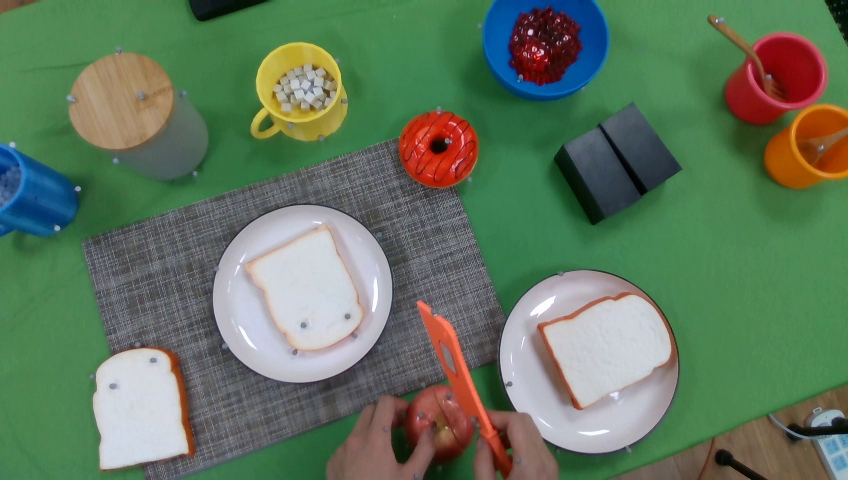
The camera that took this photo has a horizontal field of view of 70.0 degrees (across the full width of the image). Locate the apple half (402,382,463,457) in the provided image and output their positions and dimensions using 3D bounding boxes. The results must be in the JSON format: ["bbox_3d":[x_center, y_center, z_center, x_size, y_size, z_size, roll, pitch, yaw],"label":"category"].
[{"bbox_3d":[0.003,0.204,0.673,0.053,0.075,0.080,-28,84,-1],"label":"apple half"}]

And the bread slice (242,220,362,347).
[{"bbox_3d":[-0.133,0.055,0.708,0.107,0.018,0.134,-30,83,-5],"label":"bread slice"}]

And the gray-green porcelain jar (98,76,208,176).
[{"bbox_3d":[-0.315,-0.135,0.695,0.106,0.127,0.105,0,80,-1],"label":"gray-green porcelain jar"}]

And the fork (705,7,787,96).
[{"bbox_3d":[0.383,-0.219,0.714,0.209,0.018,0.028,20,76,-40],"label":"fork"}]

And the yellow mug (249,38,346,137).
[{"bbox_3d":[-0.160,-0.174,0.735,0.131,0.064,0.099,-43,84,-7],"label":"yellow mug"}]

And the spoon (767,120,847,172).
[{"bbox_3d":[0.499,-0.138,0.702,0.022,0.194,0.041,-15,75,-50],"label":"spoon"}]

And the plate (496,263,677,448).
[{"bbox_3d":[0.185,0.132,0.706,0.209,0.038,0.208,0,80,-1],"label":"plate"}]

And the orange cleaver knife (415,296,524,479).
[{"bbox_3d":[0.043,0.149,0.591,0.012,0.077,0.212,-30,104,-20],"label":"orange cleaver knife"}]

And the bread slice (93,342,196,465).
[{"bbox_3d":[-0.325,0.184,0.693,0.105,0.019,0.131,-12,82,-4],"label":"bread slice"}]

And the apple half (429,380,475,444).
[{"bbox_3d":[0.038,0.185,0.676,0.033,0.081,0.081,-29,82,-2],"label":"apple half"}]

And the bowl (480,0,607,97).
[{"bbox_3d":[0.140,-0.238,0.747,0.151,0.077,0.151,0,81,-1],"label":"bowl"}]

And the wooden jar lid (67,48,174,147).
[{"bbox_3d":[-0.314,-0.147,0.634,0.108,0.021,0.108,0,79,0],"label":"wooden jar lid"}]

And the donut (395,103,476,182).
[{"bbox_3d":[0.015,-0.118,0.737,0.099,0.048,0.098,0,81,-1],"label":"donut"}]

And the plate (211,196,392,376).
[{"bbox_3d":[-0.140,0.053,0.708,0.208,0.039,0.207,0,81,-1],"label":"plate"}]

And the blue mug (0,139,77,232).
[{"bbox_3d":[-0.475,-0.048,0.686,0.082,0.106,0.116,44,82,6],"label":"blue mug"}]
